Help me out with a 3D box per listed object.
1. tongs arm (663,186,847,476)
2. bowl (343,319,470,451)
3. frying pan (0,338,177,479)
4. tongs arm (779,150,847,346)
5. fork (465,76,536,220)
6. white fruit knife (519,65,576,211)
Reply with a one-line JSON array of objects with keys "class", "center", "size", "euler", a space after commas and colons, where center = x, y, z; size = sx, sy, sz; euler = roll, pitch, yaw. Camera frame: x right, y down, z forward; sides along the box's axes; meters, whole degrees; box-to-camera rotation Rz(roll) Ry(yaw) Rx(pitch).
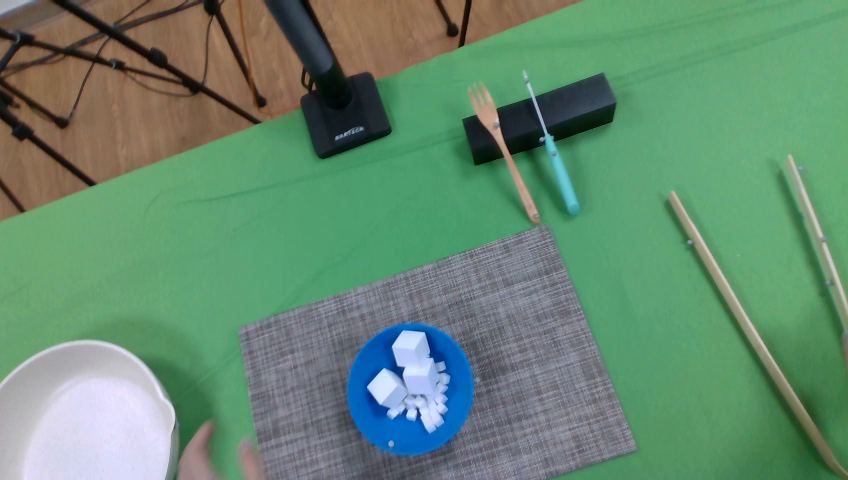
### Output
[{"class": "tongs arm", "center": [0.389, 0.097, 0.722], "size": [0.028, 0.028, 0.384], "euler": [-24, 69, -1]}, {"class": "bowl", "center": [-0.015, 0.177, 0.734], "size": [0.151, 0.077, 0.150], "euler": [-3, 71, 9]}, {"class": "frying pan", "center": [-0.420, 0.360, 0.732], "size": [0.307, 0.104, 0.483], "euler": [-21, 61, 3]}, {"class": "tongs arm", "center": [0.466, 0.073, 0.711], "size": [0.051, 0.027, 0.382], "euler": [-12, 71, 7]}, {"class": "fork", "center": [0.105, -0.121, 0.813], "size": [0.028, 0.018, 0.207], "euler": [-25, 90, -3]}, {"class": "white fruit knife", "center": [0.162, -0.137, 0.808], "size": [0.016, 0.027, 0.207], "euler": [-20, 86, 9]}]
